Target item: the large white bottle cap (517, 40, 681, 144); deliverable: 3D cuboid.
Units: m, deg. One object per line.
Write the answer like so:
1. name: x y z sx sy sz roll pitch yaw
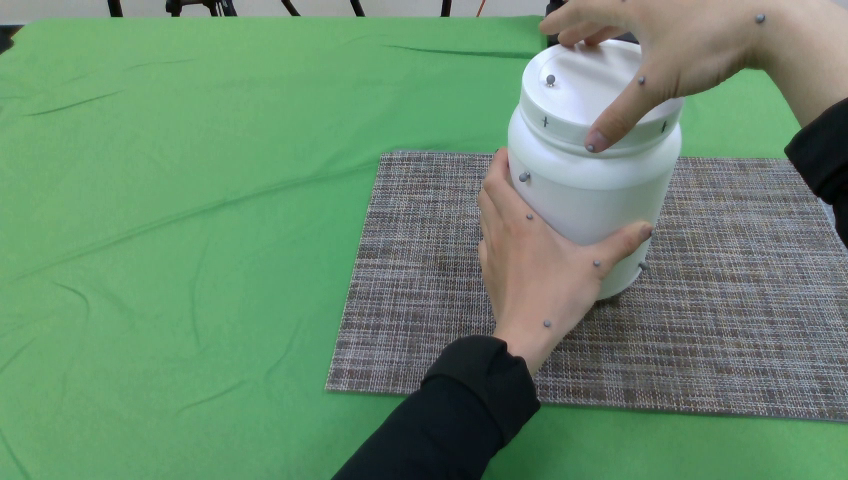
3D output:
1. large white bottle cap: 0.125 -0.110 0.439 0.115 0.018 0.113 -2 47 2

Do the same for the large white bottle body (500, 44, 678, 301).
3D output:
1. large white bottle body: 0.131 -0.052 0.501 0.130 0.186 0.129 -2 47 2
